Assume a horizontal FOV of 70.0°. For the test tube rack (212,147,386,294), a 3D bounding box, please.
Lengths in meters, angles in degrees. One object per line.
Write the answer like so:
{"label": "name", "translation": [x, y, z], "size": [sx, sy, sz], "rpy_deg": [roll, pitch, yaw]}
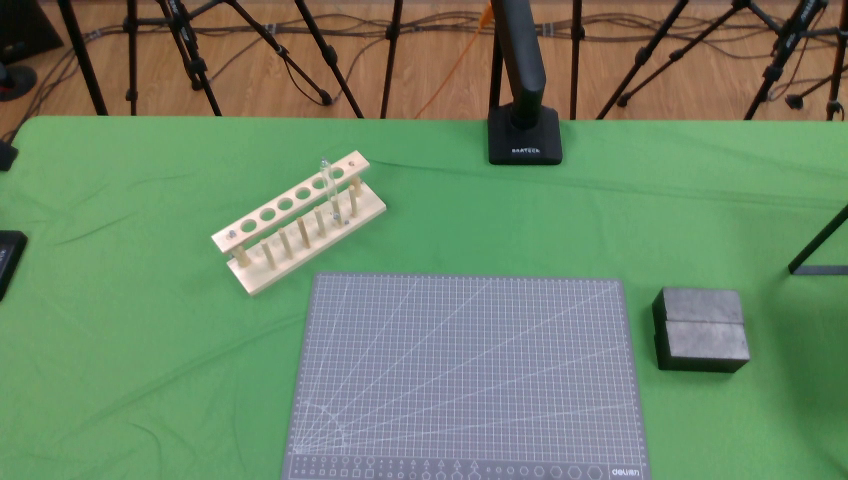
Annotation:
{"label": "test tube rack", "translation": [-0.175, -0.030, 0.888], "size": [0.242, 0.086, 0.066], "rpy_deg": [-35, 64, -18]}

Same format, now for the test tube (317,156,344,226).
{"label": "test tube", "translation": [-0.131, -0.066, 0.856], "size": [0.017, 0.151, 0.017], "rpy_deg": [-1, 57, 2]}
